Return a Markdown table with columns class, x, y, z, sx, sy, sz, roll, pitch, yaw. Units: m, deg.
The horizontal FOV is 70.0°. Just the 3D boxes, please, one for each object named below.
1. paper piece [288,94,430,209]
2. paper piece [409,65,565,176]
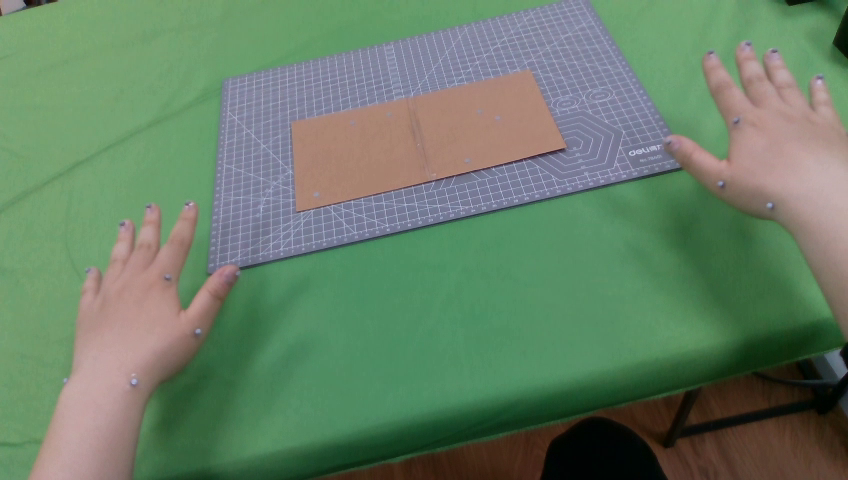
| class | x | y | z | sx | sy | sz | roll | pitch | yaw |
| --- | --- | --- | --- | --- | --- | --- | --- | --- | --- |
| paper piece | -0.071 | -0.096 | 0.622 | 0.138 | 0.009 | 0.134 | -13 | 49 | 1 |
| paper piece | 0.059 | -0.127 | 0.620 | 0.135 | 0.004 | 0.134 | -13 | 50 | 1 |
